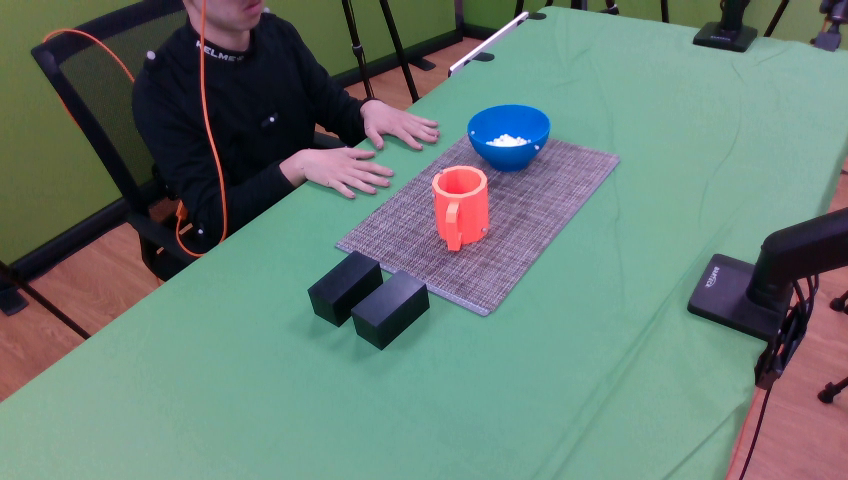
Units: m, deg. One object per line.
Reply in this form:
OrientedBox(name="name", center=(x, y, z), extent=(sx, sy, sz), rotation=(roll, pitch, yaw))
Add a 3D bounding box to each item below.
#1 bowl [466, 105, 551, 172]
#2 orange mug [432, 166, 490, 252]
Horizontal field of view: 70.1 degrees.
OrientedBox(name="bowl", center=(0.155, -0.177, 1.105), extent=(0.151, 0.077, 0.150), rotation=(-3, 40, 3))
OrientedBox(name="orange mug", center=(0.055, -0.045, 0.948), extent=(0.083, 0.101, 0.126), rotation=(4, 38, 14))
